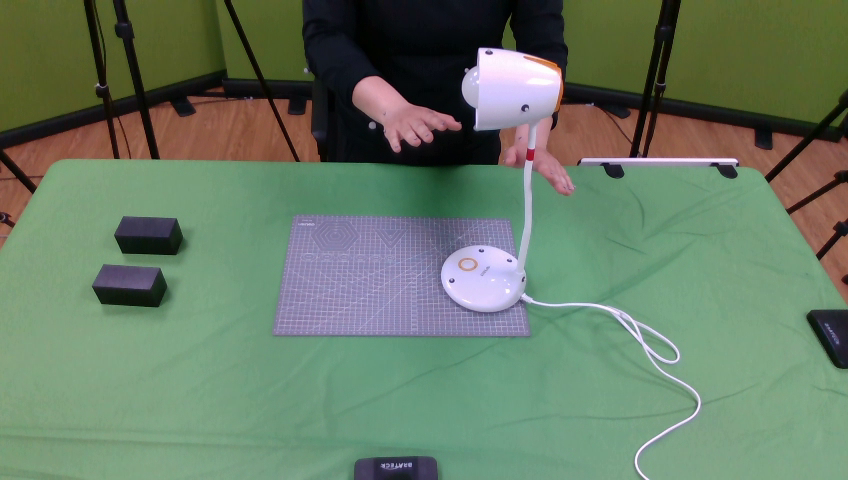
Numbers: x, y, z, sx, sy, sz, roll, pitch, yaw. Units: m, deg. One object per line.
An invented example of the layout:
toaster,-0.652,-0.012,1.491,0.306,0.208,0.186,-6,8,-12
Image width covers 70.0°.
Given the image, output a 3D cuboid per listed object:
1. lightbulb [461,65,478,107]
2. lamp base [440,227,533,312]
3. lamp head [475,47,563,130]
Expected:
lightbulb,0.106,-0.214,0.850,0.108,0.060,0.059,4,45,-2
lamp base,0.126,0.021,1.072,0.179,0.181,0.160,22,49,13
lamp head,0.129,-0.206,0.840,0.123,0.113,0.112,5,45,-1
